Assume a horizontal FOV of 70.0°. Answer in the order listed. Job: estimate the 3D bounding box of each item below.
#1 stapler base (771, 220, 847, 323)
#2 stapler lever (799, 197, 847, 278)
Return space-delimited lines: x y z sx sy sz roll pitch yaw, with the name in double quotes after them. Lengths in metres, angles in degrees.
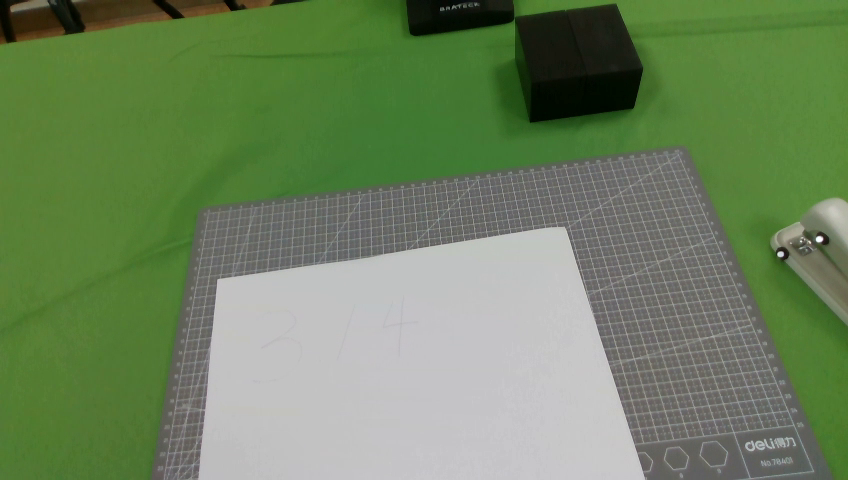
0.316 0.031 0.446 0.041 0.024 0.129 -25 58 -7 "stapler base"
0.314 0.019 0.425 0.027 0.040 0.117 -25 57 -7 "stapler lever"
